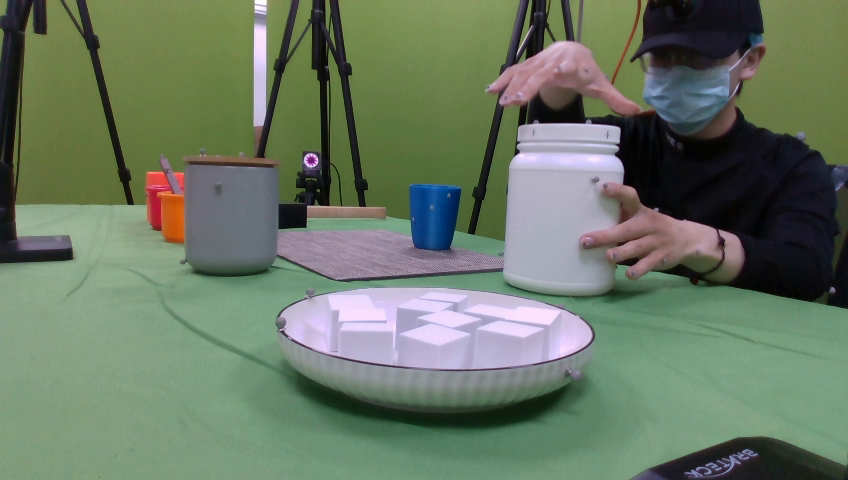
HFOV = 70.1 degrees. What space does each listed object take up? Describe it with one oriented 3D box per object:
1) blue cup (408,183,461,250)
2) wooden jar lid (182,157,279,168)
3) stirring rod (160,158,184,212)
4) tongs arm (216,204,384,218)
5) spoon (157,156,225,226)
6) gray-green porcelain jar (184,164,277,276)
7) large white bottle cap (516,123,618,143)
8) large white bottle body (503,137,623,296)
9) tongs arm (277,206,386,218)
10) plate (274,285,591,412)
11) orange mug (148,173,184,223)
[{"bbox_3d":[0.015,-0.038,0.970,0.093,0.100,0.092,2,9,0],"label":"blue cup"},{"bbox_3d":[-0.227,-0.086,0.714,0.108,0.020,0.108,1,6,0],"label":"wooden jar lid"},{"bbox_3d":[-0.390,-0.070,0.972,0.014,0.006,0.175,-1,49,-49],"label":"stirring rod"},{"bbox_3d":[-0.288,-0.069,1.435,0.389,0.027,0.028,0,-1,-17],"label":"tongs arm"},{"bbox_3d":[-0.425,-0.094,1.117,0.041,0.022,0.194,5,51,29],"label":"spoon"},{"bbox_3d":[-0.230,-0.025,0.722,0.106,0.126,0.106,3,7,0],"label":"gray-green porcelain jar"},{"bbox_3d":[0.164,-0.122,0.697,0.115,0.018,0.115,2,7,0],"label":"large white bottle cap"},{"bbox_3d":[0.161,-0.037,0.707,0.131,0.184,0.130,2,7,0],"label":"large white bottle body"},{"bbox_3d":[-0.251,-0.063,1.360,0.387,0.026,0.050,-1,3,-31],"label":"tongs arm"},{"bbox_3d":[0.005,0.069,0.408,0.208,0.039,0.207,2,7,0],"label":"plate"},{"bbox_3d":[-0.490,-0.087,1.222,0.127,0.101,0.083,-9,13,-38],"label":"orange mug"}]
